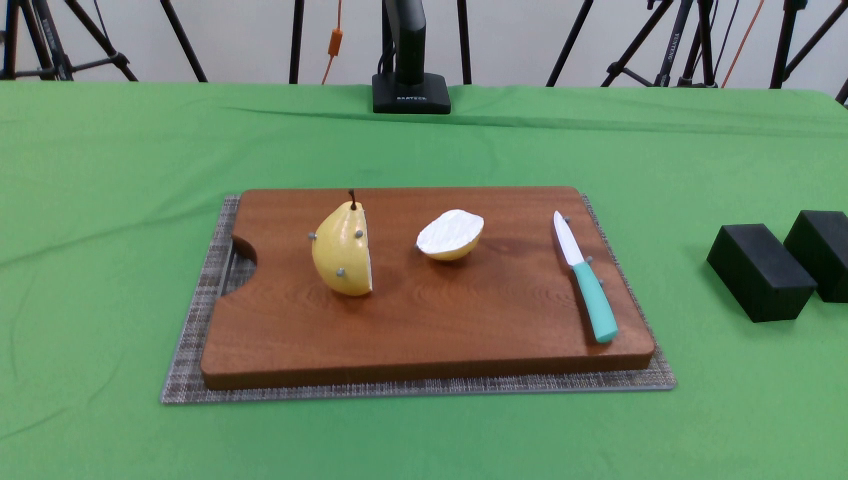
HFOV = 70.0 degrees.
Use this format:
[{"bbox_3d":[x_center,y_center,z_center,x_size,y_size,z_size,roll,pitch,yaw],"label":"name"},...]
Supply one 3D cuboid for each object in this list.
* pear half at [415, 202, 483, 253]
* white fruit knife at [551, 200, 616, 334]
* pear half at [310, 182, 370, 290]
[{"bbox_3d":[0.028,-0.009,0.625,0.070,0.031,0.087,-6,25,12],"label":"pear half"},{"bbox_3d":[0.157,0.018,0.617,0.027,0.016,0.205,12,37,-14],"label":"white fruit knife"},{"bbox_3d":[-0.078,-0.007,0.556,0.056,0.111,0.075,-6,38,-11],"label":"pear half"}]
